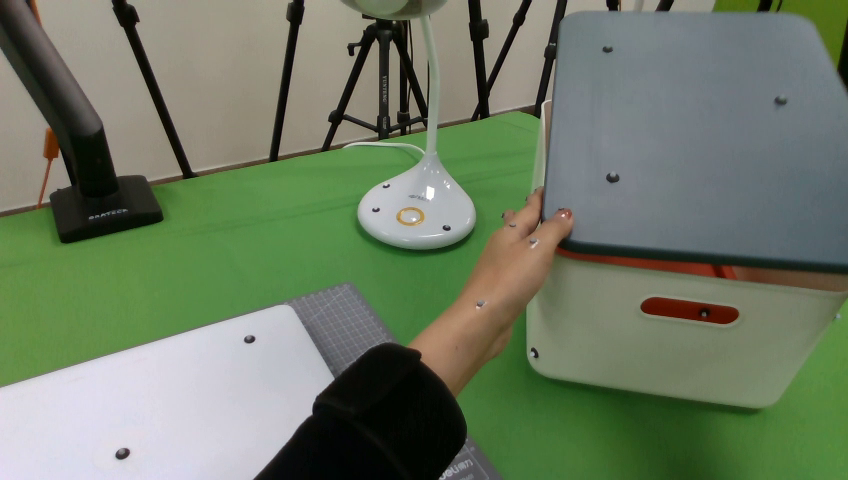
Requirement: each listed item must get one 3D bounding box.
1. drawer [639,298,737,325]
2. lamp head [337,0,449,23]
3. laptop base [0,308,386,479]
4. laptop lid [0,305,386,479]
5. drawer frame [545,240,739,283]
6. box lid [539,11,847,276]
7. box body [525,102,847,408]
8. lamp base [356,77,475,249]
[{"bbox_3d":[0.224,0.033,0.686,0.194,0.074,0.210,4,32,4],"label":"drawer"},{"bbox_3d":[-0.026,-0.277,0.553,0.112,0.113,0.122,5,74,1],"label":"lamp head"},{"bbox_3d":[-0.236,0.178,0.482,0.355,0.023,0.233,-16,43,-27],"label":"laptop base"},{"bbox_3d":[-0.234,0.170,0.474,0.358,0.013,0.239,-15,41,-25],"label":"laptop lid"},{"bbox_3d":[0.225,0.027,0.686,0.201,0.083,0.212,6,32,3],"label":"drawer frame"},{"bbox_3d":[0.246,-0.114,0.550,0.263,0.015,0.368,4,47,11],"label":"box lid"},{"bbox_3d":[0.245,-0.004,0.676,0.254,0.161,0.361,7,35,5],"label":"box body"},{"bbox_3d":[-0.006,-0.107,0.780,0.160,0.181,0.178,7,33,5],"label":"lamp base"}]
